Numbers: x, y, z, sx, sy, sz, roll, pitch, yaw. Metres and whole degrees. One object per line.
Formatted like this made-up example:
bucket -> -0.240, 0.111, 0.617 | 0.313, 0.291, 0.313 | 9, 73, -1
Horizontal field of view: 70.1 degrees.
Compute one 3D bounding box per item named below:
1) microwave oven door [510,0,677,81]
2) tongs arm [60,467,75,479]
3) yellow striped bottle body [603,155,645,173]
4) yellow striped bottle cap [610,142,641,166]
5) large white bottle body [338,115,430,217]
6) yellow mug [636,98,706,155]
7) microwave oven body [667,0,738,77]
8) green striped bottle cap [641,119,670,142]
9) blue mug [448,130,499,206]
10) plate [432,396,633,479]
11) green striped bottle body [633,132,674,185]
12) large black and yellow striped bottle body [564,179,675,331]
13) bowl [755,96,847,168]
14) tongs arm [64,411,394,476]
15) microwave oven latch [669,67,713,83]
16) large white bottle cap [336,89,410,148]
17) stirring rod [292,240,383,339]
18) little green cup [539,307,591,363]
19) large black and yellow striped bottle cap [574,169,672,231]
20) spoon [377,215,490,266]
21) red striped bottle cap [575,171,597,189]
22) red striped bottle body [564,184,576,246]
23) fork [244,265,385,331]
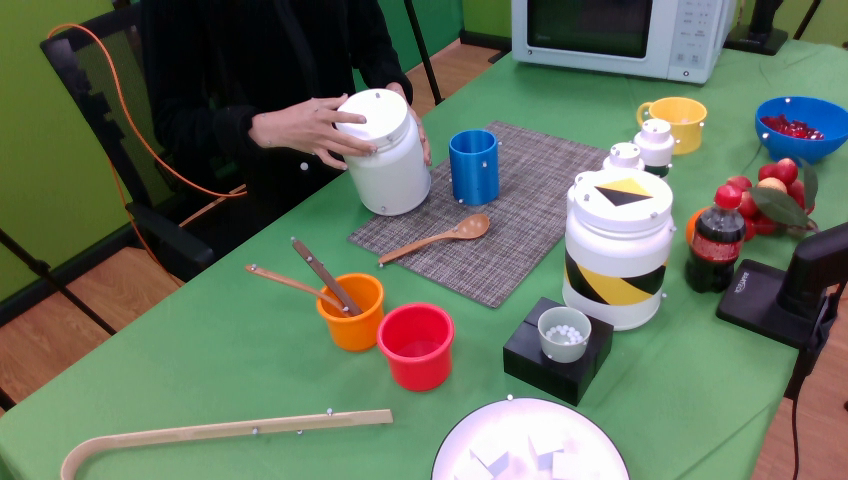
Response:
microwave oven door -> 0.354, -0.478, 1.290 | 0.353, 0.245, 0.039 | 15, 45, 25
tongs arm -> -0.239, 0.301, 0.649 | 0.386, 0.028, 0.028 | 6, 49, 16
yellow striped bottle body -> 0.314, -0.090, 0.957 | 0.063, 0.121, 0.062 | -4, 40, 4
yellow striped bottle cap -> 0.308, -0.131, 0.925 | 0.044, 0.019, 0.044 | -4, 46, 5
large white bottle body -> -0.066, -0.139, 1.001 | 0.130, 0.185, 0.130 | -5, 57, 7
yellow mug -> 0.453, -0.217, 1.128 | 0.100, 0.064, 0.129 | -34, 46, -27
microwave oven body -> 0.462, -0.552, 1.369 | 0.439, 0.261, 0.326 | 15, 45, 26
green striped bottle cap -> 0.371, -0.175, 0.968 | 0.044, 0.020, 0.044 | -4, 42, 4
blue mug -> 0.091, -0.134, 1.051 | 0.082, 0.106, 0.116 | 4, 41, 14
plate -> 0.112, 0.261, 0.634 | 0.209, 0.038, 0.208 | -5, 40, 4
green striped bottle body -> 0.376, -0.135, 1.001 | 0.063, 0.120, 0.063 | -5, 40, 5
large black and yellow striped bottle body -> 0.253, 0.014, 0.793 | 0.131, 0.185, 0.130 | -5, 40, 4
bowl -> 0.645, -0.177, 1.041 | 0.151, 0.077, 0.150 | -5, 40, 4
tongs arm -> -0.228, 0.241, 0.715 | 0.385, 0.026, 0.050 | -5, 44, 4
microwave oven latch -> 0.556, -0.349, 1.261 | 0.078, 0.029, 0.030 | 16, 46, 27
large white bottle cap -> -0.079, -0.188, 0.929 | 0.115, 0.018, 0.114 | -4, 54, 7
stirring rod -> -0.118, 0.068, 0.826 | 0.176, 0.006, 0.014 | 48, 59, -4
little green cup -> 0.167, 0.114, 0.721 | 0.061, 0.039, 0.061 | -4, 43, 4
large black and yellow striped bottle cap -> 0.242, -0.051, 0.738 | 0.115, 0.019, 0.114 | -4, 37, 3
spoon -> 0.015, 0.002, 0.966 | 0.194, 0.022, 0.041 | -18, 62, -12
red striped bottle cap -> 0.242, -0.081, 0.876 | 0.044, 0.018, 0.044 | -5, 44, 5
red striped bottle body -> 0.247, -0.041, 0.910 | 0.063, 0.120, 0.062 | -3, 39, 3
fork -> -0.142, 0.078, 0.806 | 0.209, 0.018, 0.028 | 30, 34, -24
